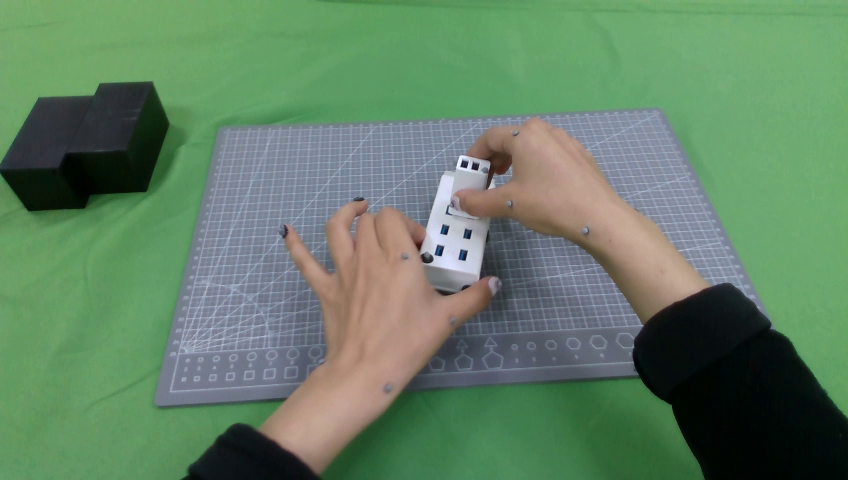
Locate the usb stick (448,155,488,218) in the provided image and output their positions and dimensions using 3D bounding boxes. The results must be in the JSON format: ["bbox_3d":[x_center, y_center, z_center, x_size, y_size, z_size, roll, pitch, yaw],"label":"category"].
[{"bbox_3d":[0.034,-0.037,0.478,0.027,0.059,0.021,8,43,6],"label":"usb stick"}]

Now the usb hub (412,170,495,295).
[{"bbox_3d":[0.027,-0.010,0.493,0.049,0.025,0.124,10,42,6],"label":"usb hub"}]
